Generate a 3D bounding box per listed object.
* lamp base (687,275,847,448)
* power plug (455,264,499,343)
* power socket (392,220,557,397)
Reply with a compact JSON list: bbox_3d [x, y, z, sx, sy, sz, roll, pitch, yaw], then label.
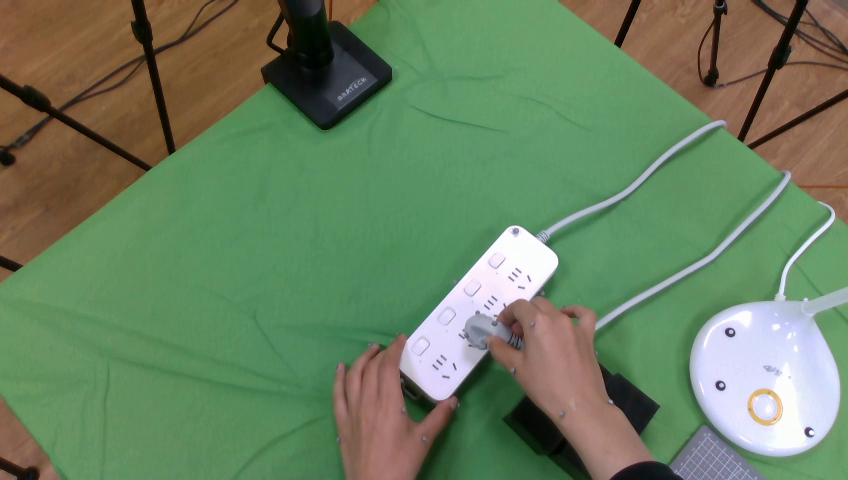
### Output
[{"bbox_3d":[0.365,0.098,0.577,0.160,0.181,0.178,16,67,3],"label":"lamp base"},{"bbox_3d":[0.053,0.068,0.607,0.035,0.053,0.072,29,45,-25],"label":"power plug"},{"bbox_3d":[0.056,0.070,0.649,0.072,0.033,0.226,40,72,11],"label":"power socket"}]
